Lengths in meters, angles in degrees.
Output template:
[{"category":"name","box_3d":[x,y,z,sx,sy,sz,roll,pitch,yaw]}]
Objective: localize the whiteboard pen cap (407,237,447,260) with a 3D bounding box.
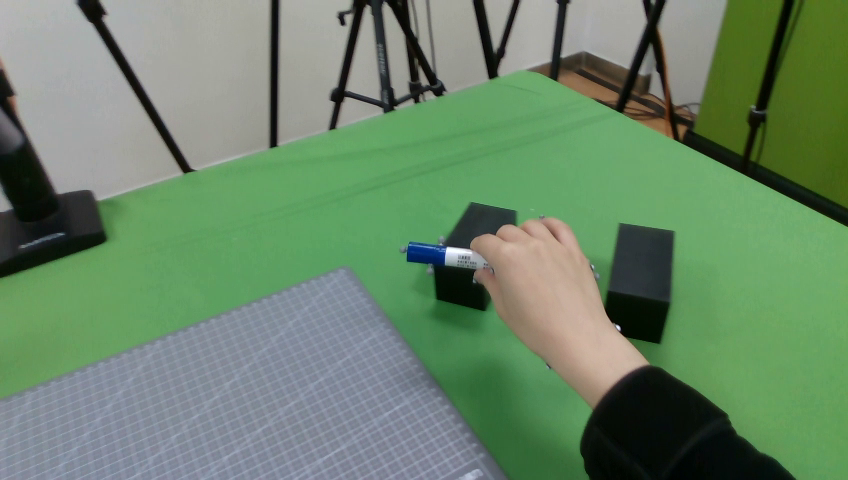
[{"category":"whiteboard pen cap","box_3d":[0.004,0.007,0.488,0.033,0.018,0.018,6,39,7]}]

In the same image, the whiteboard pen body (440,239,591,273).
[{"category":"whiteboard pen body","box_3d":[0.061,0.011,0.481,0.140,0.017,0.017,6,39,6]}]
